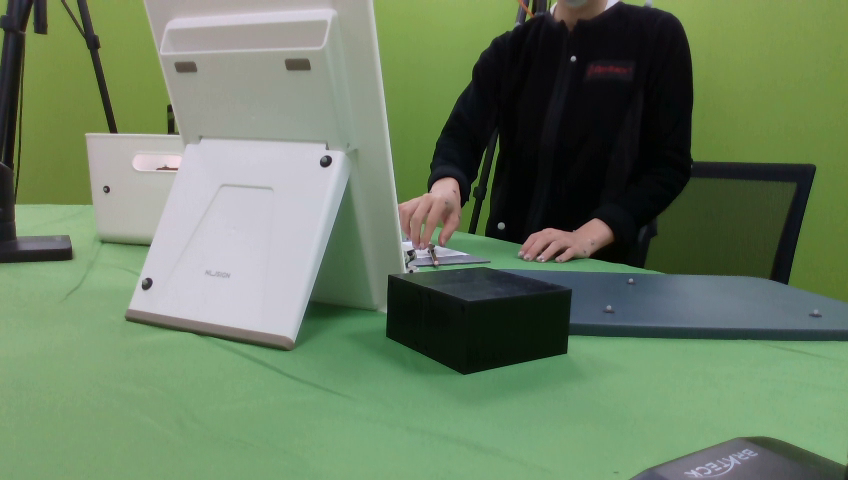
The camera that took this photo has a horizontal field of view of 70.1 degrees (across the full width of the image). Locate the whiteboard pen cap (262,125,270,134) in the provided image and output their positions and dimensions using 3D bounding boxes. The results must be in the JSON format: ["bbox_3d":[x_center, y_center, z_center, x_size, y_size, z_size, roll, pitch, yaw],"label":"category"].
[{"bbox_3d":[-0.349,-0.244,1.337,0.018,0.018,0.033,0,2,-17],"label":"whiteboard pen cap"}]

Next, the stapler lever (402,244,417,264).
[{"bbox_3d":[-0.066,0.003,0.755,0.117,0.040,0.027,9,13,23],"label":"stapler lever"}]

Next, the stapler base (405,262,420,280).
[{"bbox_3d":[-0.069,0.027,0.759,0.130,0.024,0.041,9,13,23],"label":"stapler base"}]

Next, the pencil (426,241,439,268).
[{"bbox_3d":[0.013,0.021,0.885,0.012,0.012,0.194,2,8,-3],"label":"pencil"}]

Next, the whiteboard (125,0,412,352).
[{"bbox_3d":[-0.151,-0.049,0.472,0.216,0.305,0.144,6,27,24],"label":"whiteboard"}]

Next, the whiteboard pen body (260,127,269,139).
[{"bbox_3d":[-0.366,-0.247,1.392,0.017,0.017,0.140,0,3,-17],"label":"whiteboard pen body"}]

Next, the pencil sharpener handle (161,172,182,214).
[{"bbox_3d":[-0.410,-0.075,0.973,0.036,0.067,0.031,-13,5,11],"label":"pencil sharpener handle"}]

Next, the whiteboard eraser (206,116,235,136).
[{"bbox_3d":[-0.450,-0.252,1.335,0.056,0.042,0.112,1,7,-22],"label":"whiteboard eraser"}]

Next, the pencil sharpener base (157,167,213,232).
[{"bbox_3d":[-0.406,-0.069,1.025,0.061,0.107,0.077,2,8,9],"label":"pencil sharpener base"}]

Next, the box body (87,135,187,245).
[{"bbox_3d":[-0.338,-0.088,1.022,0.254,0.160,0.364,3,7,9],"label":"box body"}]

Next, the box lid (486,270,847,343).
[{"bbox_3d":[0.267,0.066,0.643,0.372,0.015,0.263,2,7,-5],"label":"box lid"}]
